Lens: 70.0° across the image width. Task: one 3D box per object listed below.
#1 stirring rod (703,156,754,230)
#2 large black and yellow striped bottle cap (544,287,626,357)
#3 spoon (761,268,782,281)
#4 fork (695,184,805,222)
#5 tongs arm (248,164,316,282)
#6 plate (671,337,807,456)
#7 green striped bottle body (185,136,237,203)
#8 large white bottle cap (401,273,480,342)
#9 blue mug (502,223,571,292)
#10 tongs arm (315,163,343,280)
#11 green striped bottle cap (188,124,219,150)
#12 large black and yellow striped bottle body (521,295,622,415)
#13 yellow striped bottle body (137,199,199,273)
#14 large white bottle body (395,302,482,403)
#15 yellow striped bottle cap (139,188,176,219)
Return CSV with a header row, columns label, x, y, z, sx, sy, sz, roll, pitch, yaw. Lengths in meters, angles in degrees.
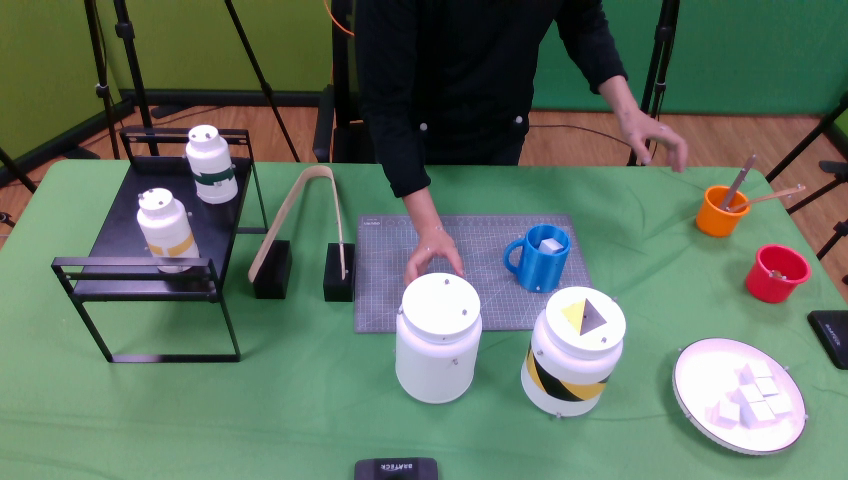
label,x,y,z,sx,sy,sz,roll,pitch,yaw
stirring rod,0.631,-0.098,1.258,0.014,0.006,0.176,33,95,28
large black and yellow striped bottle cap,0.232,0.116,0.876,0.115,0.019,0.114,2,46,-1
spoon,0.638,0.060,1.105,0.041,0.021,0.194,38,11,24
fork,0.657,-0.075,1.230,0.207,0.019,0.028,-23,34,37
tongs arm,-0.269,-0.048,1.166,0.028,0.028,0.385,-1,34,7
plate,0.504,0.254,0.984,0.208,0.039,0.206,2,46,-2
green striped bottle body,-0.341,-0.121,0.968,0.063,0.120,0.063,2,46,-2
large white bottle cap,0.024,0.095,0.878,0.115,0.018,0.114,2,47,-2
blue mug,0.203,0.031,1.121,0.116,0.106,0.082,5,46,1
tongs arm,-0.187,-0.049,1.170,0.051,0.026,0.382,-5,35,-6
green striped bottle cap,-0.339,-0.158,0.931,0.044,0.020,0.044,3,47,-3
large black and yellow striped bottle body,0.228,0.173,0.938,0.131,0.185,0.130,2,47,-2
yellow striped bottle body,-0.366,-0.014,0.863,0.063,0.121,0.062,2,46,-2
large white bottle body,0.020,0.153,0.939,0.131,0.185,0.130,2,46,-2
yellow striped bottle cap,-0.363,-0.050,0.826,0.044,0.019,0.044,0,47,0
